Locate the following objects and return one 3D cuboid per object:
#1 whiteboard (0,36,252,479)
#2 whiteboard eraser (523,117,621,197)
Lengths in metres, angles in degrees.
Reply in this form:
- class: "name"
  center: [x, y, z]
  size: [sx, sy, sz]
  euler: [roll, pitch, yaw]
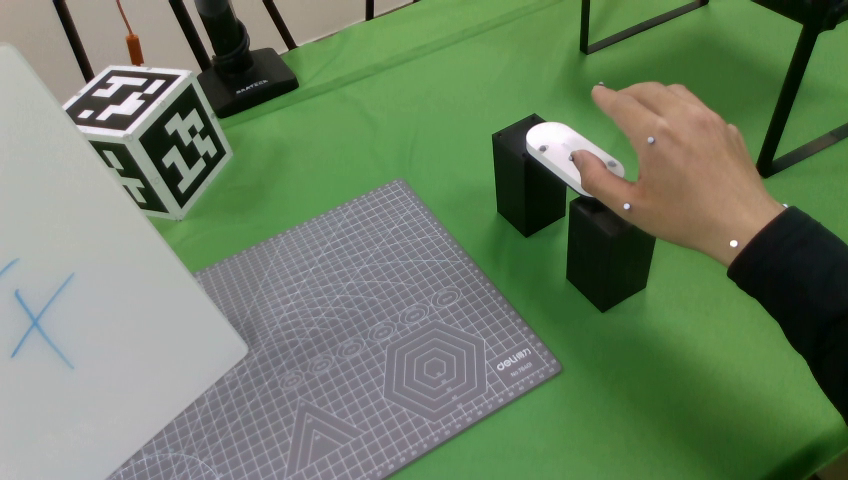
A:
- class: "whiteboard"
  center: [-0.328, 0.036, 0.474]
  size: [0.217, 0.308, 0.142]
  euler: [-43, 35, -25]
- class: "whiteboard eraser"
  center: [0.123, -0.073, 0.510]
  size: [0.041, 0.019, 0.100]
  euler: [-28, 50, -16]
